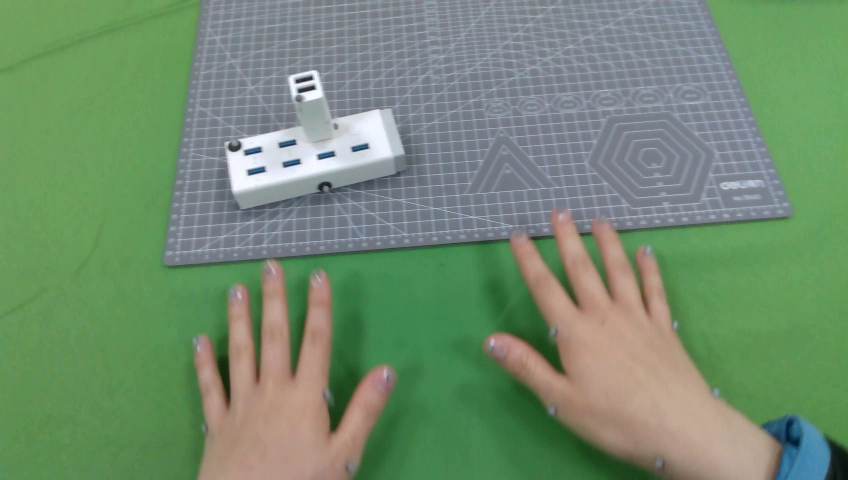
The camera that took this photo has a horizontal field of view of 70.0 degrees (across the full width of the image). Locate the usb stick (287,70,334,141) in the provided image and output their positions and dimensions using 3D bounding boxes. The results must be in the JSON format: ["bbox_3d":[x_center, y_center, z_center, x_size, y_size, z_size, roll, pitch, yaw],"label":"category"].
[{"bbox_3d":[-0.079,-0.091,0.432,0.021,0.059,0.027,-16,61,-5],"label":"usb stick"}]

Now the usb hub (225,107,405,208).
[{"bbox_3d":[-0.080,-0.063,0.450,0.125,0.025,0.049,-14,62,-7],"label":"usb hub"}]
